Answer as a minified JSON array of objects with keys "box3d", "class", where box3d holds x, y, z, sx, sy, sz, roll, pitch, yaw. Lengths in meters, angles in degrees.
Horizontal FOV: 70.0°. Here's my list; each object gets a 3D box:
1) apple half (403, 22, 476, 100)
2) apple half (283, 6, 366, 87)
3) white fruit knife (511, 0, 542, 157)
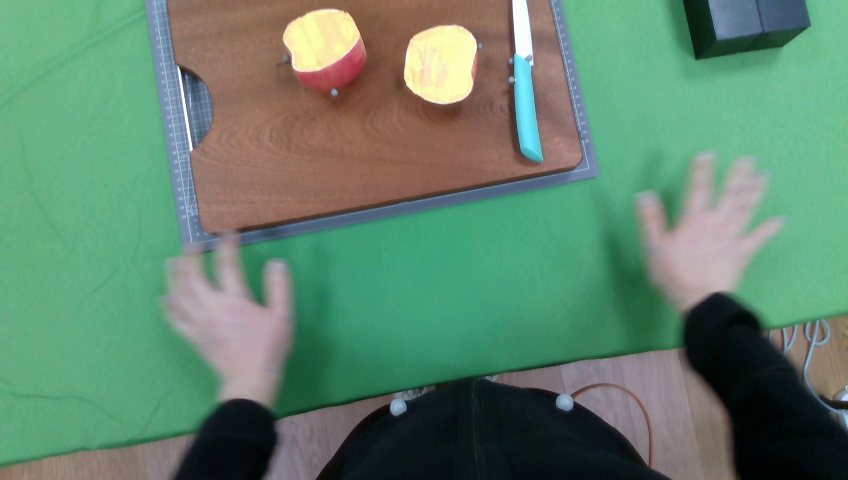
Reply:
[{"box3d":[0.018,-0.181,0.621,0.081,0.033,0.081,1,95,12],"class":"apple half"},{"box3d":[-0.096,-0.188,0.608,0.074,0.054,0.080,-28,61,-1],"class":"apple half"},{"box3d":[0.103,-0.189,0.632,0.027,0.016,0.206,0,82,-29],"class":"white fruit knife"}]
